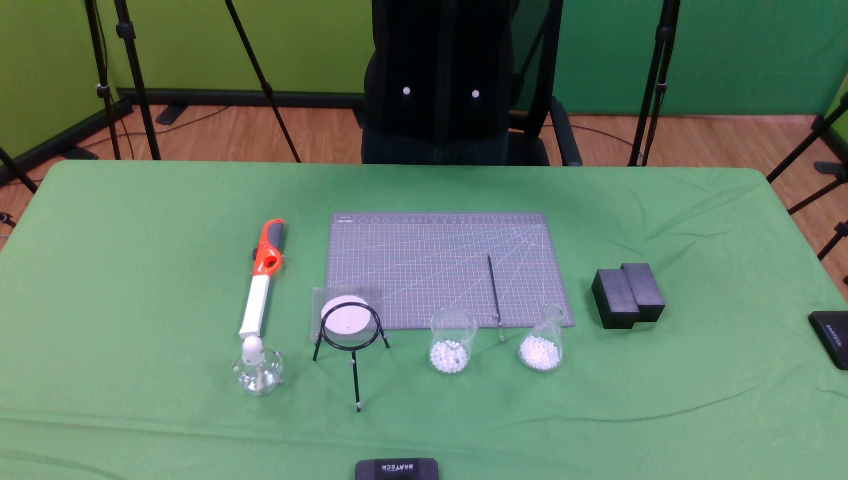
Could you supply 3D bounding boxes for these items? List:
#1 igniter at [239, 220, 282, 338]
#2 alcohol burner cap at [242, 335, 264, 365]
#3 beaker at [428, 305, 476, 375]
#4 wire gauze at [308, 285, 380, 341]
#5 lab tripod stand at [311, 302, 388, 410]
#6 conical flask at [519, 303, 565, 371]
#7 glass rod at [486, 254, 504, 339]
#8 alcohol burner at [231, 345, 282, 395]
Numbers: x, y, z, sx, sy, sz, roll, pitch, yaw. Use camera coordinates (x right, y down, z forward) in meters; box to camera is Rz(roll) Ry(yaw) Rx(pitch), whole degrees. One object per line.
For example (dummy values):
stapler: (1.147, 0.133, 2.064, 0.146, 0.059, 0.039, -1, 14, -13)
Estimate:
igniter: (-0.298, 0.061, 1.113, 0.057, 0.025, 0.274, -5, 46, 4)
alcohol burner cap: (-0.258, 0.163, 0.908, 0.034, 0.048, 0.033, 6, 48, -6)
beaker: (0.044, 0.169, 0.987, 0.074, 0.101, 0.083, 1, 47, -3)
wire gauze: (-0.141, 0.128, 1.071, 0.125, 0.011, 0.120, -1, 46, -5)
lab tripod stand: (-0.113, 0.168, 0.951, 0.148, 0.132, 0.147, 2, 44, -2)
conical flask: (0.201, 0.155, 0.997, 0.075, 0.122, 0.075, 2, 46, -2)
glass rod: (0.130, 0.099, 1.119, 0.008, 0.008, 0.198, -1, 46, -4)
alcohol burner: (-0.260, 0.187, 0.935, 0.078, 0.119, 0.077, 3, 44, -3)
